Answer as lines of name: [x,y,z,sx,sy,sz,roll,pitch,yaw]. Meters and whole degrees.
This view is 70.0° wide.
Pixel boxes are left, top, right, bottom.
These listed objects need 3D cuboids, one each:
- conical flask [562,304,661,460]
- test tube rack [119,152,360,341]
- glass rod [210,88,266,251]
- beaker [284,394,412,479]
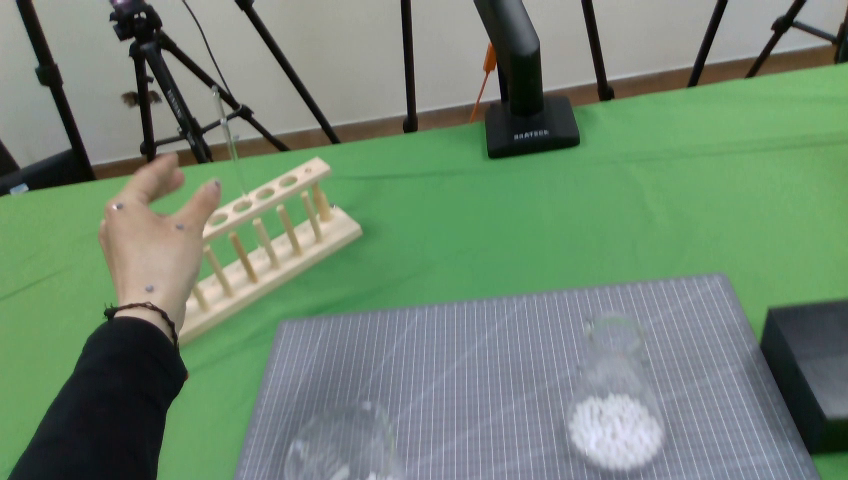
conical flask: [0.137,0.100,0.443,0.075,0.123,0.074,-8,42,8]
test tube rack: [-0.199,0.002,0.682,0.242,0.086,0.066,-33,44,-20]
glass rod: [-0.200,-0.069,0.661,0.008,0.201,0.008,-5,34,4]
beaker: [-0.047,0.169,0.437,0.073,0.101,0.083,16,49,30]
